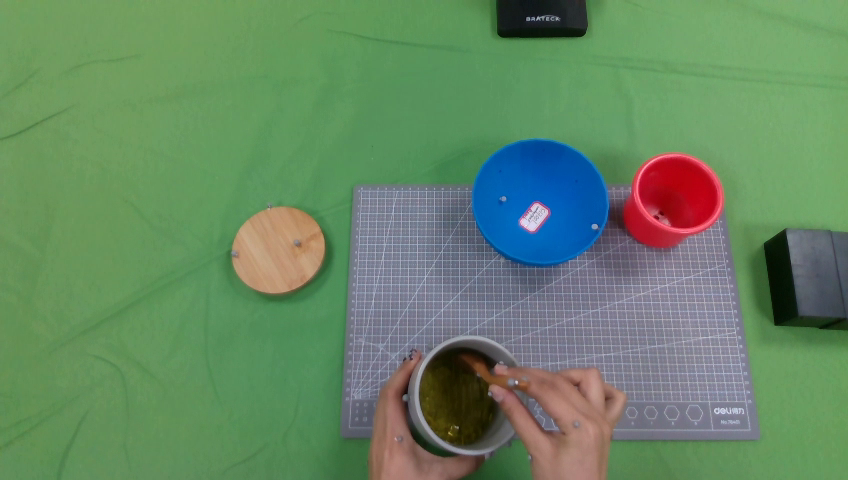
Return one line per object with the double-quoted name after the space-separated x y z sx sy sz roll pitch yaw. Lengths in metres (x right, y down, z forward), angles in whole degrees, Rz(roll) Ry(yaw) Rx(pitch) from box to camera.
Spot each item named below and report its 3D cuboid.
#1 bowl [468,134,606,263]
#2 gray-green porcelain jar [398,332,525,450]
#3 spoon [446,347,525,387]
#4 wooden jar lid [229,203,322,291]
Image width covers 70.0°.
0.124 -0.036 0.694 0.151 0.077 0.150 0 71 1 "bowl"
0.031 0.151 0.601 0.106 0.127 0.105 3 74 -9 "gray-green porcelain jar"
0.056 0.117 0.549 0.042 0.193 0.021 27 83 -8 "spoon"
-0.174 0.009 0.717 0.108 0.021 0.107 0 71 2 "wooden jar lid"
